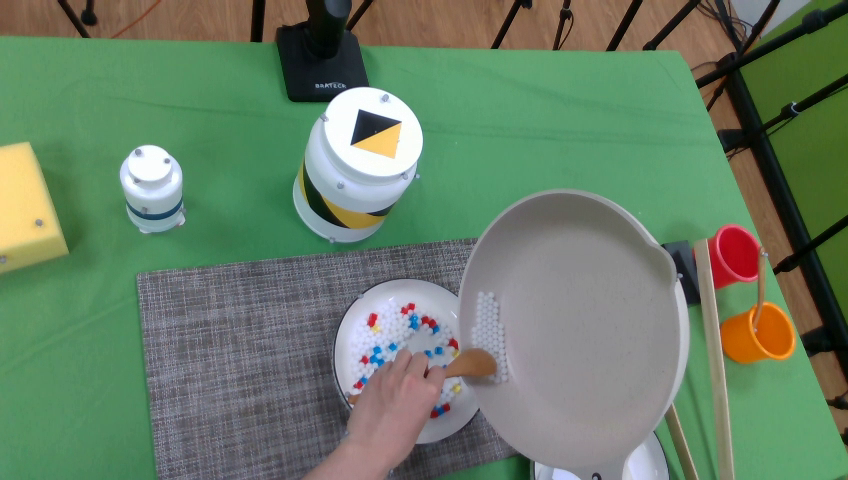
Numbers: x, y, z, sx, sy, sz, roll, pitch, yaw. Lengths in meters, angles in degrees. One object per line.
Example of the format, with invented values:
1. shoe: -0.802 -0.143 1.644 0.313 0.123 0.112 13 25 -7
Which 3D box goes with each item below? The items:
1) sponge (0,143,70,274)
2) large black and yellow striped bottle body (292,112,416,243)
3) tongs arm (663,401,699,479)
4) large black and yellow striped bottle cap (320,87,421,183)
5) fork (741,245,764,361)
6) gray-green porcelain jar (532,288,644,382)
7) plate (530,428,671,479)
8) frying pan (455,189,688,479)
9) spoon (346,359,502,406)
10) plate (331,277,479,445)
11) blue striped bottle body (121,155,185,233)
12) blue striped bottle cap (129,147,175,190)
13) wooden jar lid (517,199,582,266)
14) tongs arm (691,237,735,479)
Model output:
1. sponge: -0.502 -0.014 0.629 0.207 0.061 0.117 -21 78 -28
2. large black and yellow striped bottle body: -0.087 -0.087 0.752 0.131 0.184 0.130 8 66 -18
3. tongs arm: 0.346 0.195 0.860 0.051 0.026 0.383 -12 84 -27
4. large black and yellow striped bottle cap: -0.058 -0.119 0.680 0.115 0.019 0.114 8 68 -19
5. fork: 0.507 0.100 0.929 0.028 0.018 0.209 -21 122 -19
6. gray-green porcelain jar: 0.213 0.132 0.814 0.106 0.127 0.105 8 66 -18
7. plate: 0.230 0.307 0.802 0.209 0.039 0.206 8 66 -18
8. frying pan: 0.168 0.183 0.612 0.103 0.307 0.483 13 55 -35
9. spoon: 0.005 0.166 0.683 0.194 0.022 0.041 -8 53 -23
10. plate: -0.017 0.150 0.763 0.210 0.038 0.207 8 67 -18
11. blue striped bottle body: -0.307 -0.058 0.689 0.063 0.121 0.062 8 66 -18
12. blue striped bottle cap: -0.289 -0.076 0.644 0.045 0.021 0.044 8 64 -16
13. wooden jar lid: 0.189 -0.010 0.923 0.109 0.021 0.107 7 68 -18
14. tongs arm: 0.423 0.186 0.895 0.028 0.027 0.386 4 78 -27
